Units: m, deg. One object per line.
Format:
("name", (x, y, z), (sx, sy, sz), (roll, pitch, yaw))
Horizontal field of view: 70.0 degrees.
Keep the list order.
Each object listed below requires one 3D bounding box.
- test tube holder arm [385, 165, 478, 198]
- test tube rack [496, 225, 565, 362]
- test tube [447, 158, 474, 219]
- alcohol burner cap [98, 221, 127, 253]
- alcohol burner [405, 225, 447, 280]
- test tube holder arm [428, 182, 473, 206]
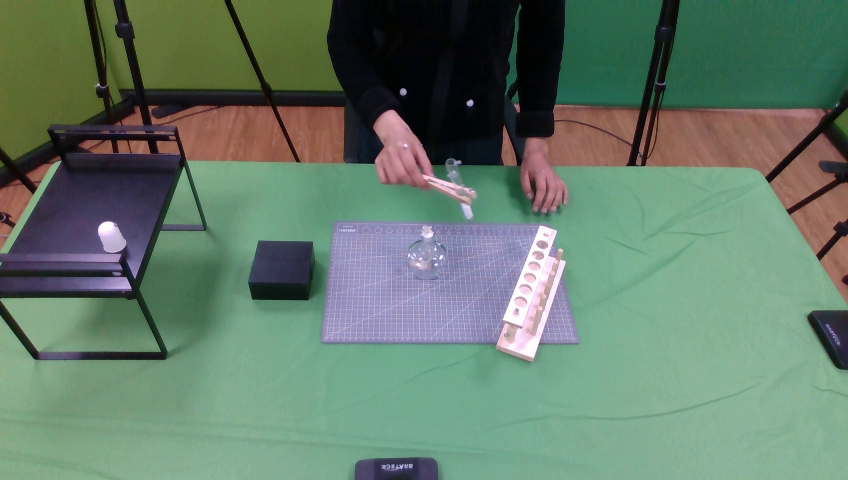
("test tube holder arm", (0.009, -0.099, 1.021), (0.177, 0.015, 0.013), (20, 68, 27))
("test tube rack", (0.200, 0.089, 1.081), (0.066, 0.085, 0.241), (19, 48, 13))
("test tube", (0.061, -0.080, 0.982), (0.017, 0.151, 0.017), (-8, 56, 12))
("alcohol burner cap", (-0.468, -0.007, 0.904), (0.034, 0.048, 0.033), (3, 46, -3))
("alcohol burner", (0.005, 0.017, 1.115), (0.078, 0.120, 0.077), (1, 47, -1))
("test tube holder arm", (0.043, -0.080, 0.998), (0.087, 0.015, 0.010), (29, 73, 30))
